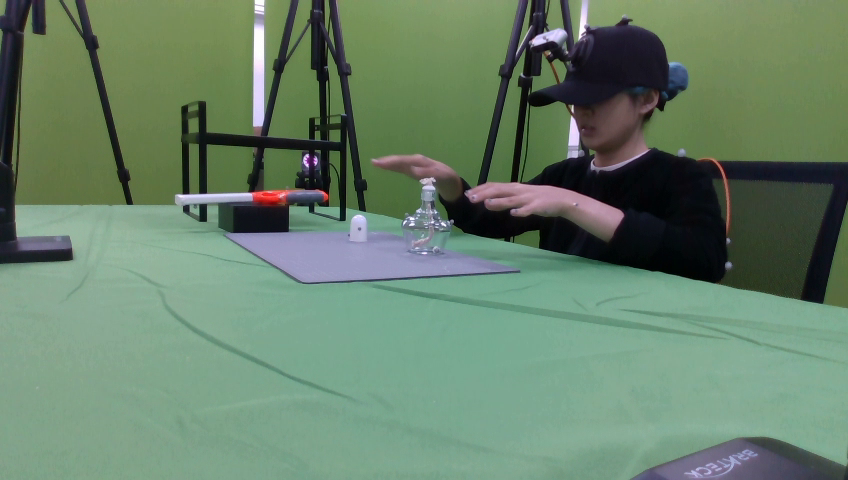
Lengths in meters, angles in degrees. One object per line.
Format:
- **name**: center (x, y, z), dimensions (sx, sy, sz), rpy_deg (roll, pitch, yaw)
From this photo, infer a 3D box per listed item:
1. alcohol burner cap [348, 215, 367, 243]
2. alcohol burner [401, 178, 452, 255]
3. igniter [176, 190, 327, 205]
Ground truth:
- **alcohol burner cap**: center (-0.112, -0.019, 1.025), dimensions (0.034, 0.048, 0.034), rpy_deg (2, 6, 0)
- **alcohol burner**: center (0.005, -0.036, 0.923), dimensions (0.078, 0.119, 0.078), rpy_deg (5, 7, 0)
- **igniter**: center (-0.316, -0.080, 1.137), dimensions (0.278, 0.025, 0.057), rpy_deg (-4, 12, -33)
